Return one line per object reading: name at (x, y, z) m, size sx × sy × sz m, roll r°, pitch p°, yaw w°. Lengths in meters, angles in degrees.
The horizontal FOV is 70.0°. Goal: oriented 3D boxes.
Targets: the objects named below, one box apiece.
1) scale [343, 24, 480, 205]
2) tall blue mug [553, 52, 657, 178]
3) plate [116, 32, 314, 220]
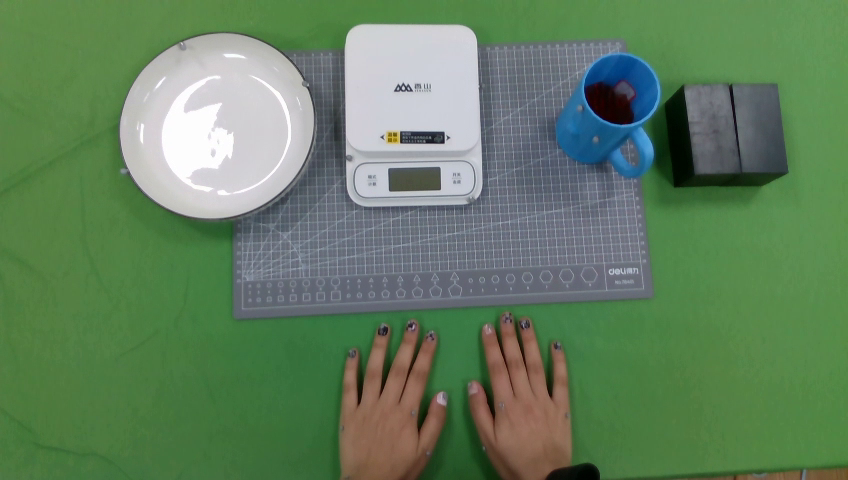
scale at (-0.015, -0.140, 0.666) m, size 0.149 × 0.031 × 0.200 m, roll -1°, pitch 81°, yaw -1°
tall blue mug at (0.196, -0.125, 0.631) m, size 0.107 × 0.108 × 0.077 m, roll 34°, pitch 80°, yaw 4°
plate at (-0.220, -0.120, 0.654) m, size 0.209 × 0.038 × 0.208 m, roll 0°, pitch 81°, yaw 0°
